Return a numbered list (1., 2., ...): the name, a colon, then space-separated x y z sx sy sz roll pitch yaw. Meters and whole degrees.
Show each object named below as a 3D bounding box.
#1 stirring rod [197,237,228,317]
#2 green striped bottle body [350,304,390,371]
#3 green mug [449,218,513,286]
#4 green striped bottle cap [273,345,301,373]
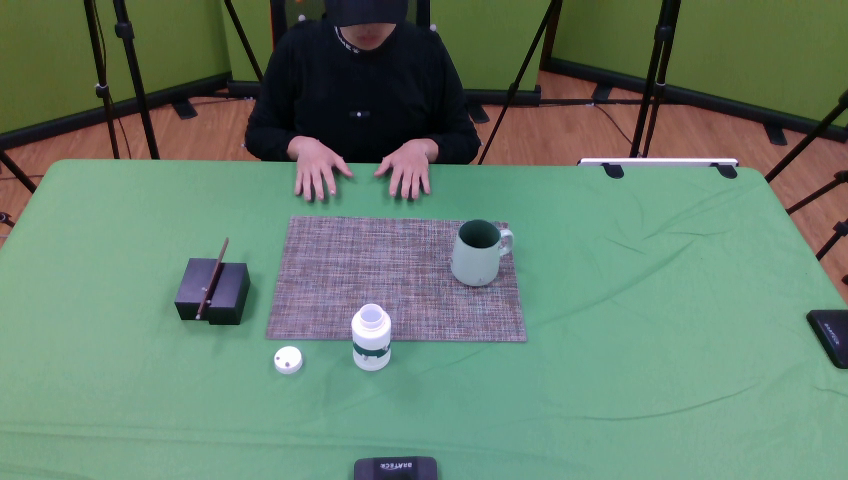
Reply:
1. stirring rod: -0.364 0.060 1.047 0.006 0.014 0.175 7 46 -4
2. green striped bottle body: -0.086 0.154 0.976 0.063 0.120 0.063 2 46 -2
3. green mug: 0.110 0.019 1.126 0.125 0.105 0.092 -19 50 -21
4. green striped bottle cap: -0.225 0.195 0.997 0.044 0.020 0.044 1 50 -1
